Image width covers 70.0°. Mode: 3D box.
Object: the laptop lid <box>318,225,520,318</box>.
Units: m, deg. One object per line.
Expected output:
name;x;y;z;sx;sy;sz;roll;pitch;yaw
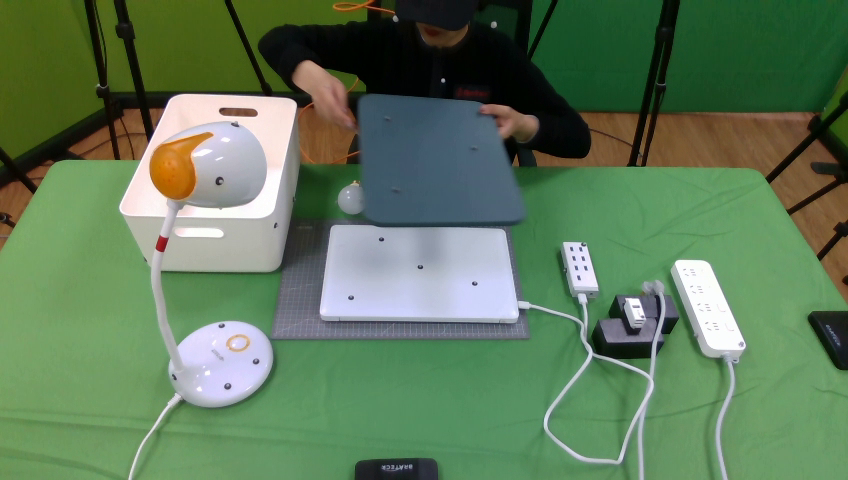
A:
laptop lid;-0.009;0.053;1.131;0.357;0.013;0.240;2;43;-2

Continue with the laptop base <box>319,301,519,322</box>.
laptop base;-0.009;0.063;1.137;0.354;0.023;0.234;1;42;-3

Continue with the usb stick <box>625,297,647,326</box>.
usb stick;0.360;0.116;1.034;0.021;0.027;0.059;-2;44;-2

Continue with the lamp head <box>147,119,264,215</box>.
lamp head;-0.276;-0.087;0.740;0.112;0.112;0.123;20;23;15

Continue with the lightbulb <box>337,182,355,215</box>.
lightbulb;-0.146;-0.094;1.261;0.059;0.060;0.107;4;30;0

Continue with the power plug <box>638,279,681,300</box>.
power plug;0.434;0.099;1.119;0.073;0.053;0.035;34;38;-15

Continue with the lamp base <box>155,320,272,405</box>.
lamp base;-0.330;0.149;0.918;0.160;0.181;0.179;26;52;20

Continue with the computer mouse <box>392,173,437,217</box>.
computer mouse;-0.018;-0.099;1.282;0.062;0.041;0.117;20;52;12

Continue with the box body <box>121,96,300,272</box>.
box body;-0.387;-0.112;1.182;0.254;0.161;0.361;1;46;-3

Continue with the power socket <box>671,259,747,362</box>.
power socket;0.517;0.119;1.108;0.072;0.033;0.225;1;46;-2

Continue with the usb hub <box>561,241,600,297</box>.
usb hub;0.300;0.055;1.161;0.049;0.025;0.124;2;46;-3

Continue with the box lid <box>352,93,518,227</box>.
box lid;0.007;-0.152;1.057;0.264;0.015;0.369;0;44;-8
